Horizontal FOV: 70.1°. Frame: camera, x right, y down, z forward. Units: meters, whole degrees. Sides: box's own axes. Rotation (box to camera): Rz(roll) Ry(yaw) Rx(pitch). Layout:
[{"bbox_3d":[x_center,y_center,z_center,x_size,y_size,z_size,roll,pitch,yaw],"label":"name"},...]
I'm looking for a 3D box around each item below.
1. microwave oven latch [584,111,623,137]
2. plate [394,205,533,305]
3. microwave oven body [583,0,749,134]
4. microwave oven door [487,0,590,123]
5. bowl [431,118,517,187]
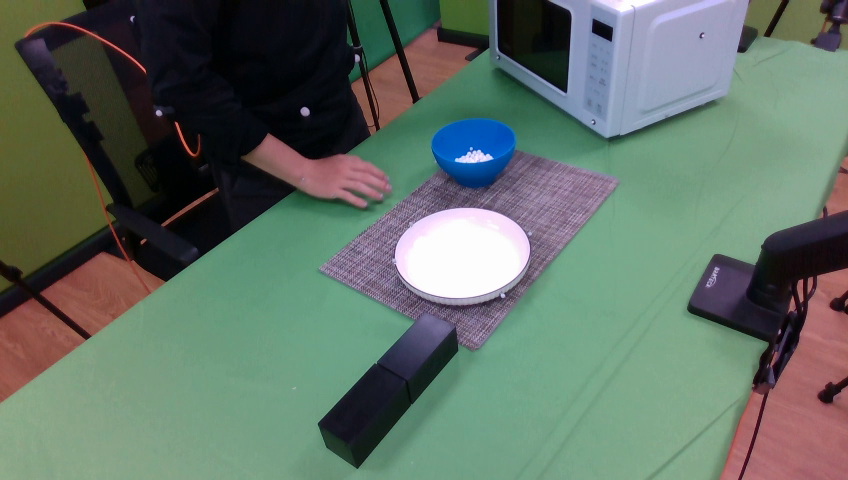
[{"bbox_3d":[0.337,-0.222,1.142,0.030,0.029,0.078,-21,42,-14],"label":"microwave oven latch"},{"bbox_3d":[0.059,0.025,0.915,0.207,0.039,0.206,-4,41,4],"label":"plate"},{"bbox_3d":[0.382,-0.444,1.246,0.327,0.261,0.437,-22,42,-16],"label":"microwave oven body"},{"bbox_3d":[0.232,-0.420,1.231,0.039,0.245,0.352,-22,43,-16],"label":"microwave oven door"},{"bbox_3d":[0.090,-0.147,1.080,0.151,0.077,0.150,-4,41,4],"label":"bowl"}]
